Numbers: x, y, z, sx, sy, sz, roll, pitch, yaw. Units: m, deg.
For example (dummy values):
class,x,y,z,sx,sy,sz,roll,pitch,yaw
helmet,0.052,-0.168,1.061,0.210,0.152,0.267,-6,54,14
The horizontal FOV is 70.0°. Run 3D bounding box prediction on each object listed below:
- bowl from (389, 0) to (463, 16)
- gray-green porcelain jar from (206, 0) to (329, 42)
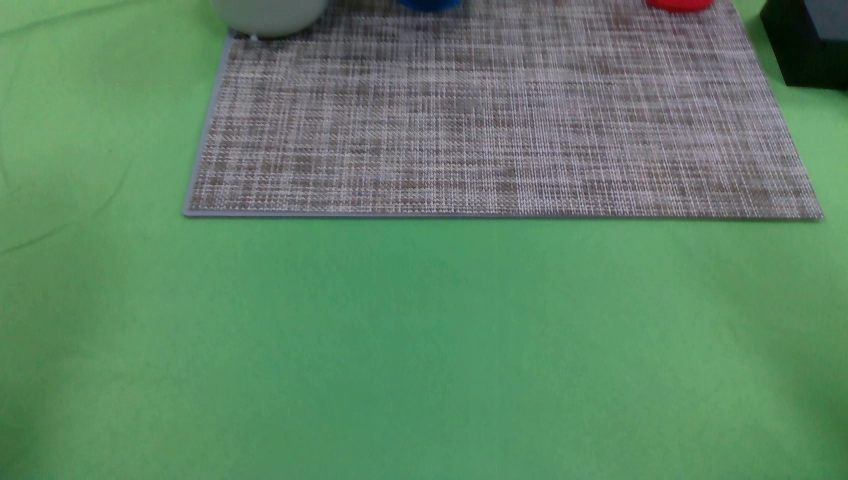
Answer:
class,x,y,z,sx,sy,sz,roll,pitch,yaw
bowl,0.002,-0.254,0.533,0.151,0.077,0.150,1,57,-1
gray-green porcelain jar,-0.132,-0.235,0.486,0.106,0.127,0.105,1,57,-1
